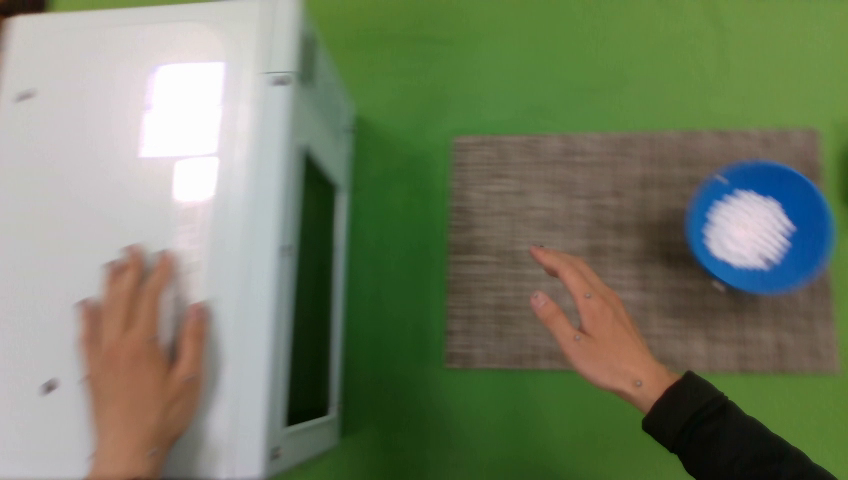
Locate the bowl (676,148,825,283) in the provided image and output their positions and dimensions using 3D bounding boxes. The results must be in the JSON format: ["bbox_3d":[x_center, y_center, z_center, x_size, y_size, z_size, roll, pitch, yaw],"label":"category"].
[{"bbox_3d":[0.358,-0.021,0.691,0.151,0.077,0.151,-1,80,6],"label":"bowl"}]

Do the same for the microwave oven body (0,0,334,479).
[{"bbox_3d":[-0.279,0.010,0.663,0.326,0.261,0.440,-3,80,5],"label":"microwave oven body"}]

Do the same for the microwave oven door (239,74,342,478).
[{"bbox_3d":[-0.133,0.043,0.636,0.039,0.245,0.354,-3,79,6],"label":"microwave oven door"}]

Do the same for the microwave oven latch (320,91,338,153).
[{"bbox_3d":[-0.125,-0.151,0.775,0.030,0.029,0.079,-3,80,5],"label":"microwave oven latch"}]
